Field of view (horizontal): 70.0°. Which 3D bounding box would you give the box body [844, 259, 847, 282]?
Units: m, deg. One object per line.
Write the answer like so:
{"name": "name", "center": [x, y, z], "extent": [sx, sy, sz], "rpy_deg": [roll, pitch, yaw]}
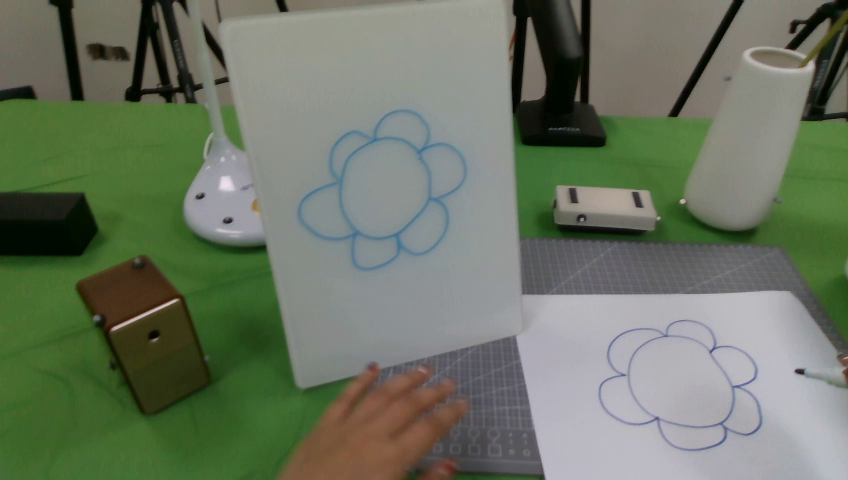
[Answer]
{"name": "box body", "center": [0.555, 0.082, 0.478], "extent": [0.254, 0.162, 0.360], "rpy_deg": [2, 38, 2]}

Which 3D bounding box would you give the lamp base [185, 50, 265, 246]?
{"name": "lamp base", "center": [-0.208, -0.110, 0.681], "extent": [0.177, 0.182, 0.160], "rpy_deg": [29, 46, 34]}

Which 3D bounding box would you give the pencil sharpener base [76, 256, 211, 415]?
{"name": "pencil sharpener base", "center": [-0.230, 0.078, 0.501], "extent": [0.061, 0.108, 0.076], "rpy_deg": [-29, 47, -31]}

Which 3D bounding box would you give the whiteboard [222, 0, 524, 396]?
{"name": "whiteboard", "center": [-0.041, -0.049, 0.555], "extent": [0.218, 0.307, 0.142], "rpy_deg": [-11, 21, -14]}

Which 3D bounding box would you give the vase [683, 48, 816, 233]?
{"name": "vase", "center": [0.364, -0.106, 0.679], "extent": [0.098, 0.201, 0.097], "rpy_deg": [2, 39, -1]}

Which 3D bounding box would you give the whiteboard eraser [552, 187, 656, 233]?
{"name": "whiteboard eraser", "center": [0.209, -0.033, 0.710], "extent": [0.112, 0.042, 0.055], "rpy_deg": [3, 36, 3]}

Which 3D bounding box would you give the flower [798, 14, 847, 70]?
{"name": "flower", "center": [0.375, -0.161, 0.616], "extent": [0.044, 0.364, 0.038], "rpy_deg": [-13, 58, -28]}

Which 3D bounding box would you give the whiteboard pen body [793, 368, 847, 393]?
{"name": "whiteboard pen body", "center": [0.300, 0.090, 0.369], "extent": [0.017, 0.017, 0.140], "rpy_deg": [-30, 13, -33]}

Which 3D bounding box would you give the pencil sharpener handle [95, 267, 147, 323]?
{"name": "pencil sharpener handle", "center": [-0.262, 0.044, 0.524], "extent": [0.036, 0.068, 0.030], "rpy_deg": [-34, 50, -26]}
